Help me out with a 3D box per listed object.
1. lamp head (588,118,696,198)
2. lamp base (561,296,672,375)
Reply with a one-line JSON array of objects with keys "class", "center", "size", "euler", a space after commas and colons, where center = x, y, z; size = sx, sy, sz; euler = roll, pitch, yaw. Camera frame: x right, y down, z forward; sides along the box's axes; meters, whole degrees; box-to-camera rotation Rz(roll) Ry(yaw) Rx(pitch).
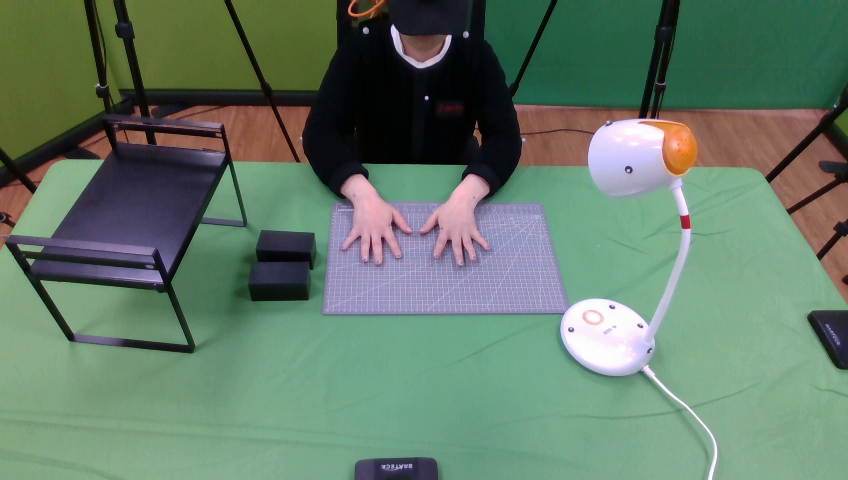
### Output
[{"class": "lamp head", "center": [0.304, -0.113, 0.823], "size": [0.112, 0.112, 0.122], "euler": [-26, 16, -25]}, {"class": "lamp base", "center": [0.332, 0.119, 0.996], "size": [0.160, 0.181, 0.178], "euler": [-34, 59, -31]}]
